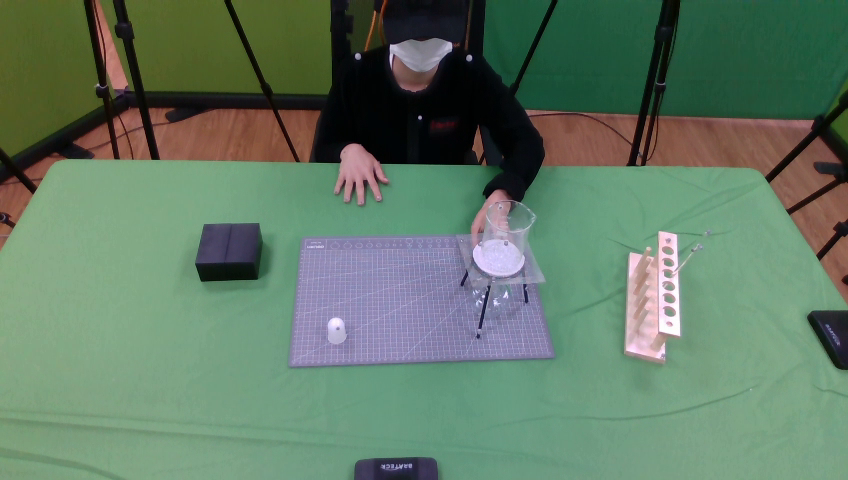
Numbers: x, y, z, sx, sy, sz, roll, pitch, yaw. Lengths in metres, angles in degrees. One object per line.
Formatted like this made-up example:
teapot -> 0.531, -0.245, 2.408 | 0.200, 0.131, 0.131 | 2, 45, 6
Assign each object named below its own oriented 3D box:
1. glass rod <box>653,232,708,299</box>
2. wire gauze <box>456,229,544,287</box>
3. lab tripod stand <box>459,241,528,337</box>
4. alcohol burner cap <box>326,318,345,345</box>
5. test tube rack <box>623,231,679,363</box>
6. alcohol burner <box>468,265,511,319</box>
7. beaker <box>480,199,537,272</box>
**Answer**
glass rod -> 0.441, 0.049, 1.050 | 0.008, 0.200, 0.008 | 4, 52, -5
wire gauze -> 0.125, 0.030, 1.008 | 0.125, 0.011, 0.120 | -3, 48, -11
lab tripod stand -> 0.122, 0.075, 1.054 | 0.148, 0.132, 0.147 | 3, 44, -3
alcohol burner cap -> -0.149, 0.151, 1.023 | 0.034, 0.048, 0.033 | 2, 46, -2
test tube rack -> 0.410, 0.094, 1.096 | 0.066, 0.085, 0.241 | 13, 46, 9
alcohol burner -> 0.117, 0.083, 1.060 | 0.078, 0.119, 0.077 | 3, 48, -3
beaker -> 0.132, -0.004, 0.973 | 0.084, 0.101, 0.073 | -4, 47, -9
